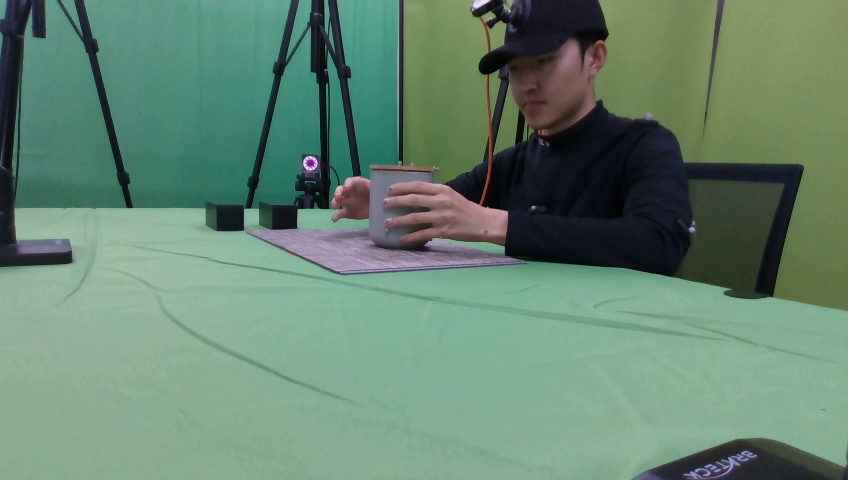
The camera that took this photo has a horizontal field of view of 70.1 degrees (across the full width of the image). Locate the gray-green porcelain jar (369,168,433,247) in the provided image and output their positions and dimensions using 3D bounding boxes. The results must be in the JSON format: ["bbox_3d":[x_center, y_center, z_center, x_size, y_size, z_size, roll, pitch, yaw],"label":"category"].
[{"bbox_3d":[-0.038,-0.055,1.002,0.106,0.126,0.106,1,7,0],"label":"gray-green porcelain jar"}]

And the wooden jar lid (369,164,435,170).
[{"bbox_3d":[-0.036,-0.114,0.994,0.108,0.020,0.108,3,5,0],"label":"wooden jar lid"}]
